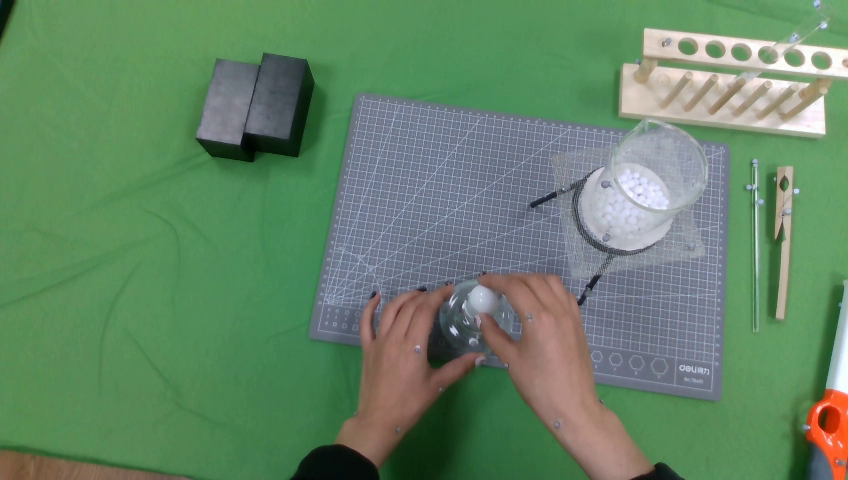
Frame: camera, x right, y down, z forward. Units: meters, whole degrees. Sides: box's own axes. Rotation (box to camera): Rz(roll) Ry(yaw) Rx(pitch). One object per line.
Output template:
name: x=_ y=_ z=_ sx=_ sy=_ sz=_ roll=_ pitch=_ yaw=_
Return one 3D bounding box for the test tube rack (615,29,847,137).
test tube rack: x=0.355 y=-0.179 z=0.697 sx=0.242 sy=0.085 sz=0.066 roll=6 pitch=76 yaw=1

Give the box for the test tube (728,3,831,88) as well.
test tube: x=0.376 y=-0.204 z=0.653 sx=0.017 sy=0.150 sz=0.017 roll=2 pitch=76 yaw=-6

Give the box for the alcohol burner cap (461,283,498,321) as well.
alcohol burner cap: x=0.053 y=0.055 z=0.563 sx=0.034 sy=0.048 sz=0.033 roll=1 pitch=72 yaw=-2

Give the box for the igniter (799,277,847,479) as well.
igniter: x=0.436 y=0.170 z=0.642 sx=0.057 sy=0.025 sz=0.275 roll=22 pitch=77 yaw=-5

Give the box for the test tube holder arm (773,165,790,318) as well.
test tube holder arm: x=0.406 y=0.000 z=0.687 sx=0.013 sy=0.015 sz=0.177 roll=0 pitch=75 yaw=34

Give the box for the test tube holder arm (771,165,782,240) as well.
test tube holder arm: x=0.408 y=-0.043 z=0.700 sx=0.010 sy=0.015 sz=0.087 roll=1 pitch=75 yaw=34

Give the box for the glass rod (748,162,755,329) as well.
glass rod: x=0.374 y=0.003 z=0.692 sx=0.008 sy=0.008 sz=0.198 roll=8 pitch=76 yaw=1

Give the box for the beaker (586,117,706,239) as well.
beaker: x=0.182 y=-0.047 z=0.518 sx=0.074 sy=0.101 sz=0.083 roll=-6 pitch=76 yaw=0

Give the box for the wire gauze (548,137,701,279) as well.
wire gauze: x=0.184 y=-0.033 z=0.564 sx=0.121 sy=0.011 sz=0.124 roll=-8 pitch=77 yaw=1

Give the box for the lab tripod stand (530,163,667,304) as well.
lab tripod stand: x=0.179 y=-0.015 z=0.627 sx=0.148 sy=0.132 sz=0.147 roll=0 pitch=76 yaw=2

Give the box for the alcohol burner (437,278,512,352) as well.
alcohol burner: x=0.053 y=0.073 z=0.614 sx=0.078 sy=0.119 sz=0.077 roll=0 pitch=74 yaw=-1
